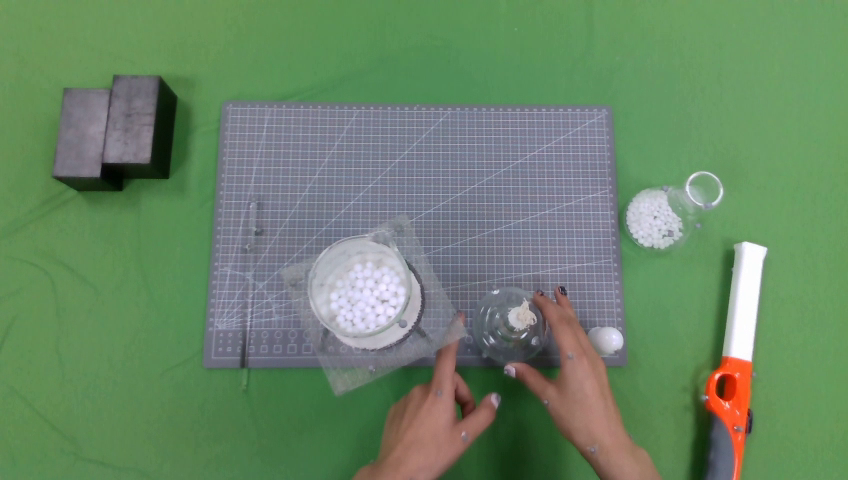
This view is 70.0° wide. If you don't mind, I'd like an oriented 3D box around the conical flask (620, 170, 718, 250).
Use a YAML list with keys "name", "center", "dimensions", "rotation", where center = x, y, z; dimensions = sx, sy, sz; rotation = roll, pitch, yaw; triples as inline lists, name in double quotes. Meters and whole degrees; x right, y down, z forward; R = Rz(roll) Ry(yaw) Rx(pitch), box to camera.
- name: "conical flask"
  center: [0.258, -0.037, 0.628]
  dimensions: [0.075, 0.122, 0.075]
  rotation: [0, 78, -1]

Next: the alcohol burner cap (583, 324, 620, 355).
- name: "alcohol burner cap"
  center: [0.189, 0.104, 0.635]
  dimensions: [0.034, 0.048, 0.033]
  rotation: [0, 78, -1]

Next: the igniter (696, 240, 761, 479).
- name: "igniter"
  center: [0.326, 0.135, 0.644]
  dimensions: [0.057, 0.025, 0.275]
  rotation: [15, 78, -9]

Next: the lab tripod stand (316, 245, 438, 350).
- name: "lab tripod stand"
  center: [-0.050, 0.067, 0.589]
  dimensions: [0.148, 0.132, 0.148]
  rotation: [0, 80, -1]

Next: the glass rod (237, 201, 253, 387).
- name: "glass rod"
  center: [-0.191, 0.056, 0.650]
  dimensions: [0.008, 0.008, 0.199]
  rotation: [1, 81, -2]

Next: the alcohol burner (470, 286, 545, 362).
- name: "alcohol burner"
  center: [0.085, 0.081, 0.600]
  dimensions: [0.078, 0.119, 0.077]
  rotation: [0, 77, 0]

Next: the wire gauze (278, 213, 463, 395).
- name: "wire gauze"
  center: [-0.047, 0.053, 0.525]
  dimensions: [0.125, 0.011, 0.121]
  rotation: [-25, 83, -8]

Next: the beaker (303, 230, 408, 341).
- name: "beaker"
  center: [-0.048, 0.040, 0.478]
  dimensions: [0.074, 0.100, 0.083]
  rotation: [22, 78, 2]
